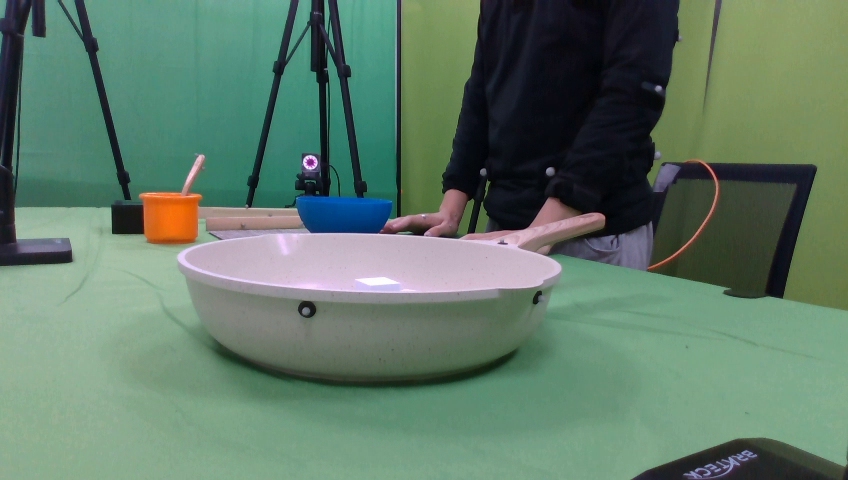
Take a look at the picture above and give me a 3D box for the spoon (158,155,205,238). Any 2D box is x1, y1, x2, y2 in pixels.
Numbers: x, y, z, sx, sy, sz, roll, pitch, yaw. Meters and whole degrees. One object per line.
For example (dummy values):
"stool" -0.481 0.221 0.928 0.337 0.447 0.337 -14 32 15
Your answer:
"spoon" -0.392 -0.076 0.998 0.041 0.193 0.021 1 -36 6

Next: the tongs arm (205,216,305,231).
"tongs arm" -0.257 -0.039 1.241 0.390 0.028 0.028 -4 8 -42

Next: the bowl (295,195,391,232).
"bowl" -0.127 -0.027 0.946 0.151 0.077 0.151 2 7 0

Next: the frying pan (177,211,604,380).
"frying pan" 0.034 0.019 0.556 0.490 0.102 0.305 -15 18 -42

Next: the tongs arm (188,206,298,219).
"tongs arm" -0.301 -0.055 1.308 0.387 0.026 0.050 -1 9 -29
